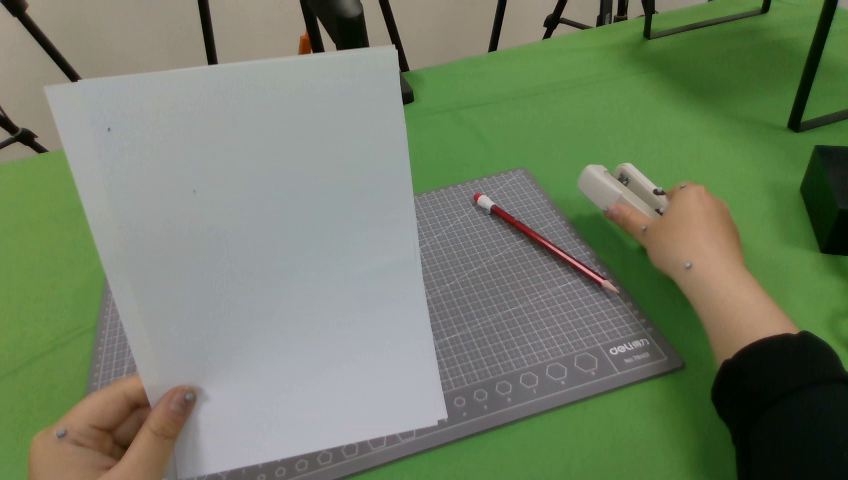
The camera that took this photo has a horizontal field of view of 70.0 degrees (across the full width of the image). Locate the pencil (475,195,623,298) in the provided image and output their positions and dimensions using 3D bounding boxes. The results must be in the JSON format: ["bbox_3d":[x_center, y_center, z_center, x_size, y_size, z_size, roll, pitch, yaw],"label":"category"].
[{"bbox_3d":[0.111,0.002,0.570,0.012,0.012,0.192,-28,45,-23],"label":"pencil"}]

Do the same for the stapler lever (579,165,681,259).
[{"bbox_3d":[0.183,-0.030,0.552,0.040,0.027,0.116,8,34,-27],"label":"stapler lever"}]

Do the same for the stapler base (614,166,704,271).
[{"bbox_3d":[0.205,-0.026,0.565,0.024,0.041,0.129,8,34,-26],"label":"stapler base"}]
